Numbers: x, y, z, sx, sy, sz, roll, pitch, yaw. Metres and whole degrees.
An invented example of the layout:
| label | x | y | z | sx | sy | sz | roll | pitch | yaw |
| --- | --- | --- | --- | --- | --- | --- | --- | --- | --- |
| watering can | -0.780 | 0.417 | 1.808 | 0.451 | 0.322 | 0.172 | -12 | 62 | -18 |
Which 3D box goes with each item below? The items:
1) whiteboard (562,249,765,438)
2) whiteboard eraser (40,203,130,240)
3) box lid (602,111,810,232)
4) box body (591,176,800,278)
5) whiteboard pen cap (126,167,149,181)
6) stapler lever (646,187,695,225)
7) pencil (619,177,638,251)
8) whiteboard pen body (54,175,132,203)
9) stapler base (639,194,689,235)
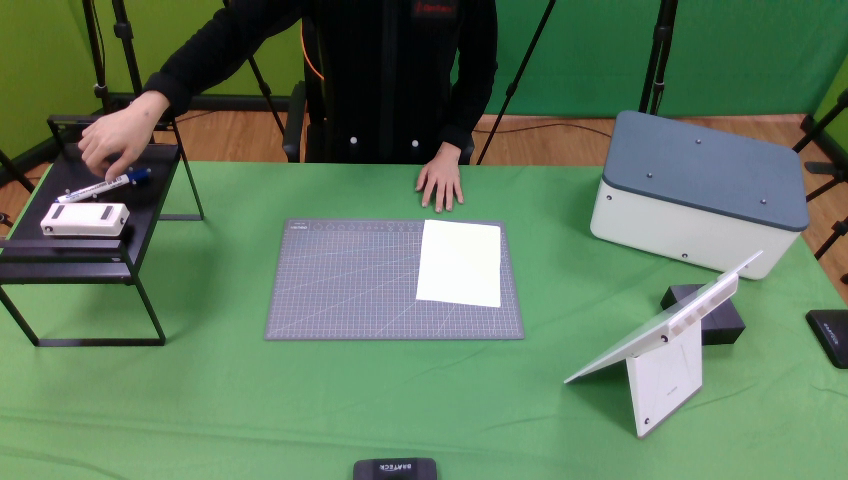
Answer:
| label | x | y | z | sx | sy | sz | roll | pitch | yaw |
| --- | --- | --- | --- | --- | --- | --- | --- | --- | --- |
| whiteboard | 0.386 | 0.175 | 0.905 | 0.217 | 0.306 | 0.143 | -26 | 72 | -26 |
| whiteboard eraser | -0.513 | -0.028 | 0.922 | 0.113 | 0.042 | 0.055 | 1 | 48 | -3 |
| box lid | 0.545 | -0.143 | 1.176 | 0.371 | 0.015 | 0.262 | 15 | 47 | 11 |
| box body | 0.540 | -0.092 | 1.230 | 0.363 | 0.161 | 0.253 | 16 | 47 | 11 |
| whiteboard pen cap | -0.483 | -0.110 | 1.019 | 0.033 | 0.018 | 0.018 | -27 | 54 | -27 |
| stapler lever | 0.516 | -0.078 | 1.265 | 0.027 | 0.040 | 0.117 | 1 | 40 | -31 |
| pencil | 0.431 | -0.060 | 1.284 | 0.012 | 0.012 | 0.193 | 2 | 55 | -2 |
| whiteboard pen body | -0.530 | -0.085 | 0.994 | 0.141 | 0.017 | 0.017 | -26 | 54 | -26 |
| stapler base | 0.510 | -0.059 | 1.278 | 0.041 | 0.024 | 0.129 | 1 | 38 | -31 |
